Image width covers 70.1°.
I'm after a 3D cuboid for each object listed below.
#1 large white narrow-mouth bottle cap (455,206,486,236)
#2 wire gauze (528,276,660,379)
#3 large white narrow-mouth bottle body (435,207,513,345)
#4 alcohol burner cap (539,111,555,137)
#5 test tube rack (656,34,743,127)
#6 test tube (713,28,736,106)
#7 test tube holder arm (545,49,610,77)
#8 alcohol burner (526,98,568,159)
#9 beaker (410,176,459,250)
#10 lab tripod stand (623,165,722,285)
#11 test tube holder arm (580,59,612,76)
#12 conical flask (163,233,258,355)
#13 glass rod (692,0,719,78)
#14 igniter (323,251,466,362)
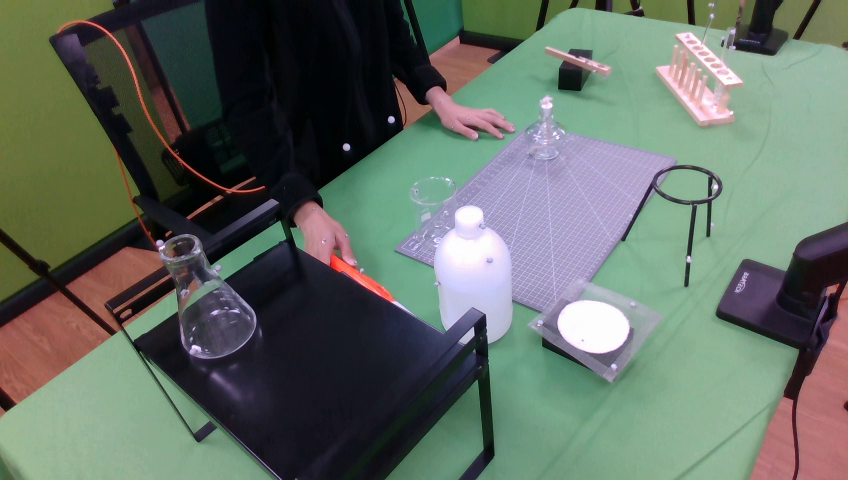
[{"bbox_3d":[0.057,-0.023,0.734,0.038,0.024,0.037,-4,40,4],"label":"large white narrow-mouth bottle cap"},{"bbox_3d":[0.213,0.103,0.763,0.124,0.011,0.122,30,52,35],"label":"wire gauze"},{"bbox_3d":[0.065,0.041,0.791,0.102,0.195,0.101,-4,41,4],"label":"large white narrow-mouth bottle body"},{"bbox_3d":[0.244,-0.232,1.197,0.034,0.048,0.033,-5,40,4],"label":"alcohol burner cap"},{"bbox_3d":[0.553,-0.330,1.233,0.067,0.085,0.241,-7,40,2],"label":"test tube rack"},{"bbox_3d":[0.570,-0.325,1.149,0.017,0.151,0.017,-4,36,4],"label":"test tube"},{"bbox_3d":[0.331,-0.387,1.315,0.013,0.015,0.177,-26,43,-29],"label":"test tube holder arm"},{"bbox_3d":[0.228,-0.210,1.118,0.078,0.119,0.077,-5,43,5],"label":"alcohol burner"},{"bbox_3d":[0.022,-0.041,0.964,0.073,0.101,0.084,28,51,35],"label":"beaker"},{"bbox_3d":[0.365,-0.030,0.875,0.148,0.132,0.147,-6,41,6],"label":"lab tripod stand"},{"bbox_3d":[0.363,-0.368,1.289,0.010,0.015,0.087,-27,43,-29],"label":"test tube holder arm"},{"bbox_3d":[-0.217,0.051,0.601,0.075,0.122,0.075,-4,40,4],"label":"conical flask"},{"bbox_3d":[0.561,-0.401,1.214,0.008,0.200,0.008,-1,48,2],"label":"glass rod"},{"bbox_3d":[-0.052,0.087,0.860,0.274,0.025,0.058,33,13,31],"label":"igniter"}]
